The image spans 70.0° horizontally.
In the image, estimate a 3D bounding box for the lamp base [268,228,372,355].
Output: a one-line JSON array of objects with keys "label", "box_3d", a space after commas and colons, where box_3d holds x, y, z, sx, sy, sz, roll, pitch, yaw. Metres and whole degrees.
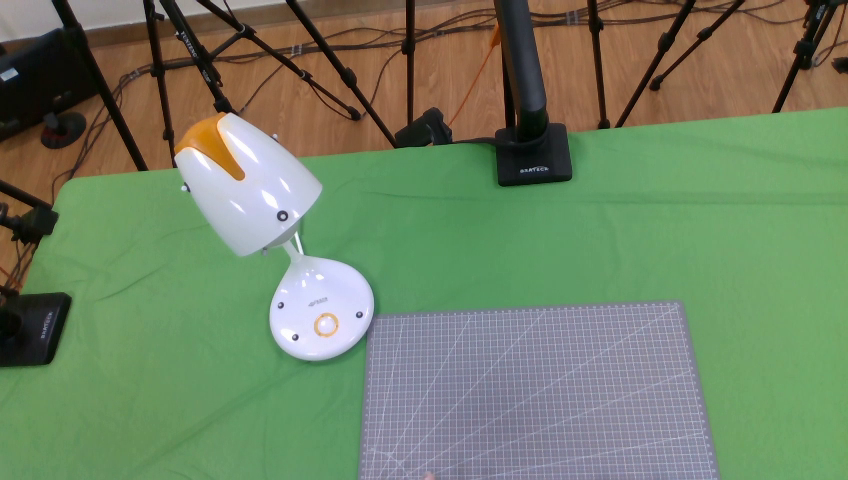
[{"label": "lamp base", "box_3d": [-0.175, 0.050, 0.852, 0.160, 0.182, 0.177, -30, 57, -8]}]

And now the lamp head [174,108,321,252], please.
[{"label": "lamp head", "box_3d": [-0.180, -0.067, 0.593, 0.112, 0.124, 0.111, -34, 19, 14]}]
